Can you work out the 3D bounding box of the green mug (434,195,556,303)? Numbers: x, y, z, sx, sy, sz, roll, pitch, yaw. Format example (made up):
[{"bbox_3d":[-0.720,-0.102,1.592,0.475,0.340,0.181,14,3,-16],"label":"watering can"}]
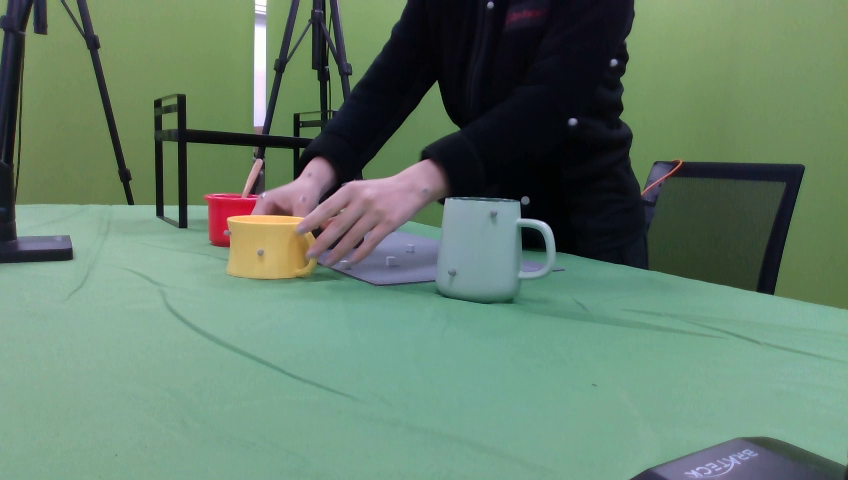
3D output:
[{"bbox_3d":[0.073,0.009,0.623,0.125,0.105,0.093,5,8,24],"label":"green mug"}]

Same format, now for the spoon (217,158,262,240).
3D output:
[{"bbox_3d":[-0.288,-0.070,0.973,0.041,0.021,0.193,5,51,3],"label":"spoon"}]

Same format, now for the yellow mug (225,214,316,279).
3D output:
[{"bbox_3d":[-0.174,0.007,0.716,0.130,0.064,0.100,9,9,36],"label":"yellow mug"}]
